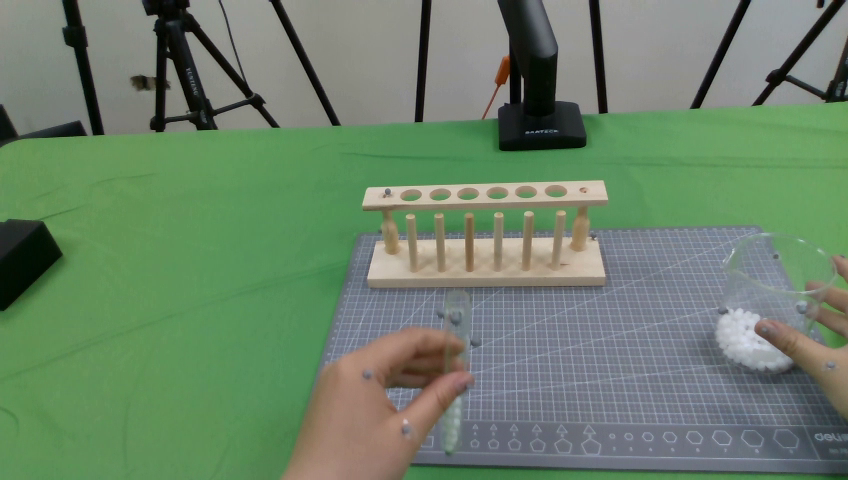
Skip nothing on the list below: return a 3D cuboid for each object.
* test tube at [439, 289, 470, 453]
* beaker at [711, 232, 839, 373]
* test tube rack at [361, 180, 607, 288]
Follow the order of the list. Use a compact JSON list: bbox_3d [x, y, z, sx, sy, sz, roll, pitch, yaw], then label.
[{"bbox_3d":[0.018,0.089,0.384,0.017,0.151,0.017,0,40,0],"label":"test tube"},{"bbox_3d":[0.281,0.055,0.503,0.084,0.101,0.073,-1,38,8],"label":"beaker"},{"bbox_3d":[0.060,-0.005,0.622,0.242,0.086,0.066,-1,38,7],"label":"test tube rack"}]
